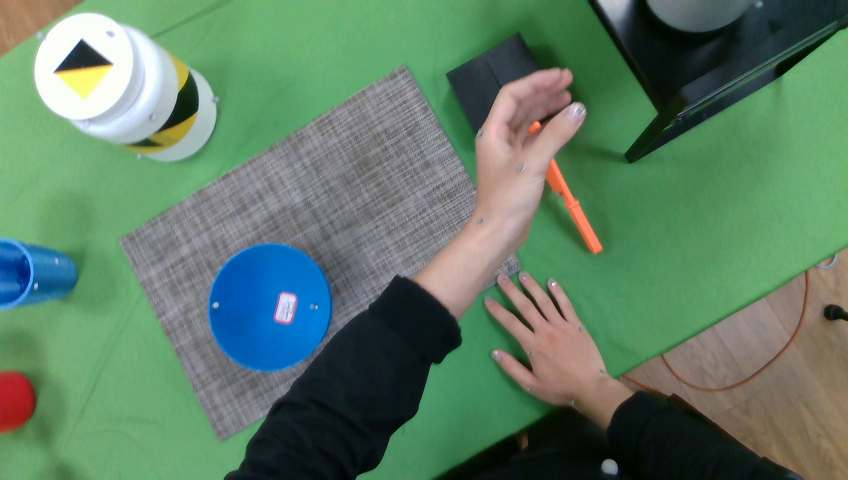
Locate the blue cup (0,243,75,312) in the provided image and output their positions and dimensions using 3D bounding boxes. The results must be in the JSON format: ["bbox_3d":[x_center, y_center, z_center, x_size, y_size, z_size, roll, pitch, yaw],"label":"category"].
[{"bbox_3d":[-0.512,0.048,0.785,0.092,0.100,0.092,0,87,5],"label":"blue cup"}]

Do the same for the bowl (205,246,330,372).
[{"bbox_3d":[-0.181,0.084,0.750,0.151,0.077,0.151,0,87,7],"label":"bowl"}]

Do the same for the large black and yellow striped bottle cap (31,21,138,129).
[{"bbox_3d":[-0.368,-0.179,0.655,0.115,0.019,0.115,0,88,8],"label":"large black and yellow striped bottle cap"}]

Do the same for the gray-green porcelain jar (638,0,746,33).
[{"bbox_3d":[0.241,-0.246,0.516,0.106,0.127,0.105,0,86,8],"label":"gray-green porcelain jar"}]

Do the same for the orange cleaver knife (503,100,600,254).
[{"bbox_3d":[0.151,-0.073,0.720,0.012,0.076,0.213,-34,113,0],"label":"orange cleaver knife"}]

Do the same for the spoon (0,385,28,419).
[{"bbox_3d":[-0.615,0.231,0.766,0.194,0.021,0.041,-14,81,-37],"label":"spoon"}]

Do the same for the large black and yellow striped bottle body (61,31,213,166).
[{"bbox_3d":[-0.358,-0.171,0.738,0.130,0.184,0.130,-1,86,7],"label":"large black and yellow striped bottle body"}]
